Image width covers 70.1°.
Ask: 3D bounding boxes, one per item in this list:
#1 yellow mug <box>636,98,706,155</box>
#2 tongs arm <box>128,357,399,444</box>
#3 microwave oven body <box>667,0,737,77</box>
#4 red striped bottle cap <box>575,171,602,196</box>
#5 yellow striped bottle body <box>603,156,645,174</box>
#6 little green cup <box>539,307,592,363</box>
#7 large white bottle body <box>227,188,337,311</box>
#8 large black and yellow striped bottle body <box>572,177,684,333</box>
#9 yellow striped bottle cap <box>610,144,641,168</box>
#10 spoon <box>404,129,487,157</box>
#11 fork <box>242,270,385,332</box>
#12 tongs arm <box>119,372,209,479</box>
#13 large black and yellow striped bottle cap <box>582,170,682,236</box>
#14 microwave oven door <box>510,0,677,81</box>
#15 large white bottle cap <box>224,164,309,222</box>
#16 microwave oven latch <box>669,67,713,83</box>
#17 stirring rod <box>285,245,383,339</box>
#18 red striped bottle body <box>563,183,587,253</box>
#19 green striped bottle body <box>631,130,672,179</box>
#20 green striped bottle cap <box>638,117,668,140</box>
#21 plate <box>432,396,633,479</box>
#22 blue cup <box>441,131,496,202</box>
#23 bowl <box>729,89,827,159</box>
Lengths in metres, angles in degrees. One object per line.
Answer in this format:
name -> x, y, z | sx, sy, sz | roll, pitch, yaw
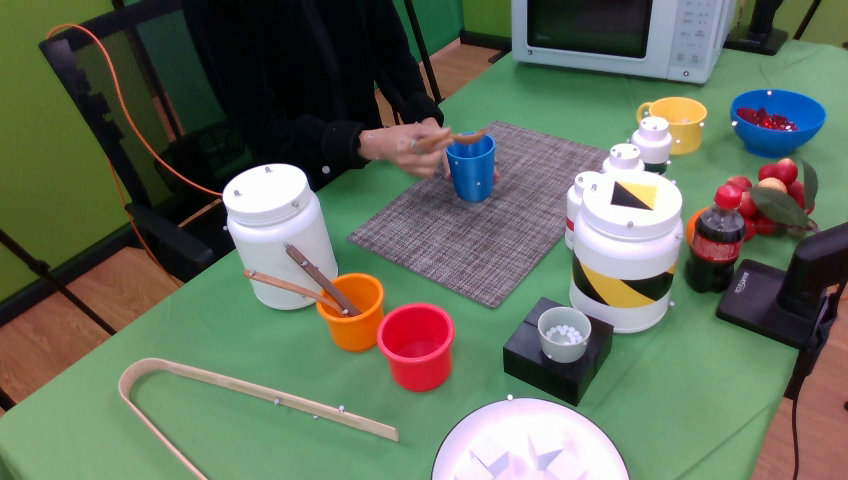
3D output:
yellow mug -> 0.453, -0.217, 1.128 | 0.100, 0.064, 0.129 | -34, 46, -27
tongs arm -> -0.213, 0.205, 0.755 | 0.382, 0.026, 0.051 | 12, 46, 23
microwave oven body -> 0.462, -0.552, 1.368 | 0.439, 0.261, 0.326 | 14, 45, 26
red striped bottle cap -> 0.242, -0.081, 0.876 | 0.044, 0.018, 0.044 | -5, 44, 5
yellow striped bottle body -> 0.313, -0.089, 0.956 | 0.063, 0.121, 0.062 | -4, 40, 4
little green cup -> 0.168, 0.115, 0.721 | 0.061, 0.039, 0.061 | -4, 42, 4
large white bottle body -> -0.207, -0.001, 0.883 | 0.130, 0.185, 0.130 | -4, 40, 4
large black and yellow striped bottle body -> 0.262, 0.017, 0.788 | 0.131, 0.185, 0.130 | -5, 40, 4
yellow striped bottle cap -> 0.307, -0.128, 0.923 | 0.044, 0.019, 0.044 | -6, 39, 5
spoon -> 0.033, -0.144, 0.895 | 0.041, 0.021, 0.195 | -17, 1, 43
fork -> -0.142, 0.082, 0.802 | 0.209, 0.018, 0.028 | 28, 38, -26
tongs arm -> -0.258, 0.257, 0.700 | 0.384, 0.028, 0.028 | 24, 55, 34
large black and yellow striped bottle cap -> 0.252, -0.048, 0.735 | 0.115, 0.019, 0.114 | -3, 40, 3
microwave oven door -> 0.354, -0.478, 1.290 | 0.353, 0.245, 0.039 | 15, 45, 25
large white bottle cap -> -0.216, -0.066, 0.829 | 0.115, 0.018, 0.114 | -4, 40, 4
microwave oven latch -> 0.556, -0.349, 1.261 | 0.078, 0.029, 0.030 | 16, 46, 27
stirring rod -> -0.121, 0.071, 0.819 | 0.176, 0.006, 0.014 | 44, 52, -6
red striped bottle body -> 0.246, -0.041, 0.910 | 0.063, 0.120, 0.062 | -2, 38, 2
green striped bottle body -> 0.375, -0.140, 1.007 | 0.063, 0.120, 0.063 | -5, 40, 4
green striped bottle cap -> 0.369, -0.180, 0.974 | 0.044, 0.020, 0.044 | -4, 41, 4
plate -> 0.112, 0.261, 0.634 | 0.209, 0.038, 0.208 | -5, 40, 4
blue cup -> 0.084, -0.121, 1.039 | 0.092, 0.100, 0.092 | -4, 42, 4
bowl -> 0.615, -0.197, 1.069 | 0.151, 0.077, 0.150 | -5, 40, 5
